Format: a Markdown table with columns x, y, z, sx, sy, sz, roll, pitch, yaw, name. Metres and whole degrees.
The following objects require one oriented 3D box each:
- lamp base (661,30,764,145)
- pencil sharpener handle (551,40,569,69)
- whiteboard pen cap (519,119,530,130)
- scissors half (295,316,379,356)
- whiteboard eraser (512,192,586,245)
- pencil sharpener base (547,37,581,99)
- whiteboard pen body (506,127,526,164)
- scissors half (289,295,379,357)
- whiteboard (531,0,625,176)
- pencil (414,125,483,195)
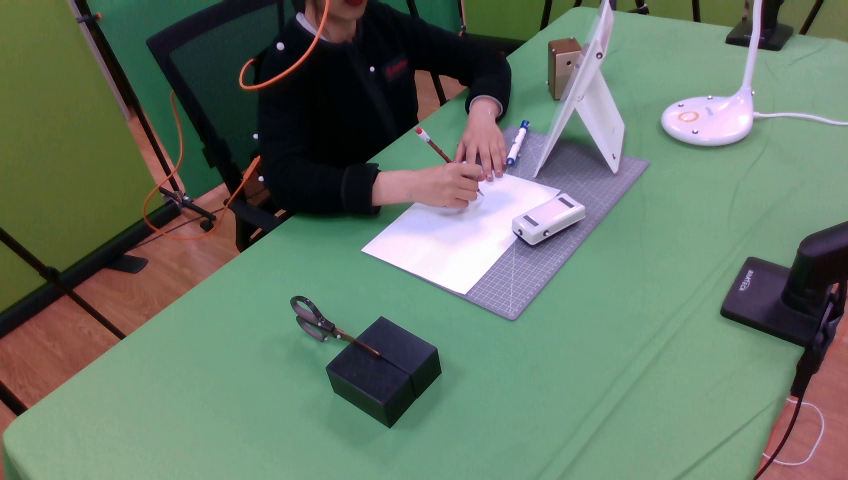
| x | y | z | sx | sy | sz | roll | pitch | yaw | name |
| --- | --- | --- | --- | --- | --- | --- | --- | --- | --- |
| 0.535 | -0.287 | 1.096 | 0.179 | 0.181 | 0.159 | -10 | 40 | -4 | lamp base |
| 0.291 | -0.409 | 1.321 | 0.036 | 0.068 | 0.030 | 2 | 40 | -6 | pencil sharpener handle |
| 0.199 | -0.226 | 1.204 | 0.018 | 0.018 | 0.033 | 7 | 41 | 18 | whiteboard pen cap |
| -0.119 | 0.132 | 0.813 | 0.174 | 0.040 | 0.013 | 9 | 34 | 45 | scissors half |
| 0.199 | -0.032 | 0.962 | 0.113 | 0.042 | 0.055 | -27 | 42 | -20 | whiteboard eraser |
| 0.299 | -0.368 | 1.290 | 0.061 | 0.107 | 0.076 | -8 | 40 | 2 | pencil sharpener base |
| 0.181 | -0.189 | 1.162 | 0.017 | 0.017 | 0.140 | 8 | 42 | 19 | whiteboard pen body |
| -0.122 | 0.114 | 0.803 | 0.174 | 0.040 | 0.013 | 26 | 50 | 32 | scissors half |
| 0.320 | -0.258 | 1.050 | 0.144 | 0.306 | 0.217 | 22 | 45 | 5 | whiteboard |
| 0.045 | -0.127 | 1.000 | 0.012 | 0.196 | 0.012 | -24 | 46 | 28 | pencil |
